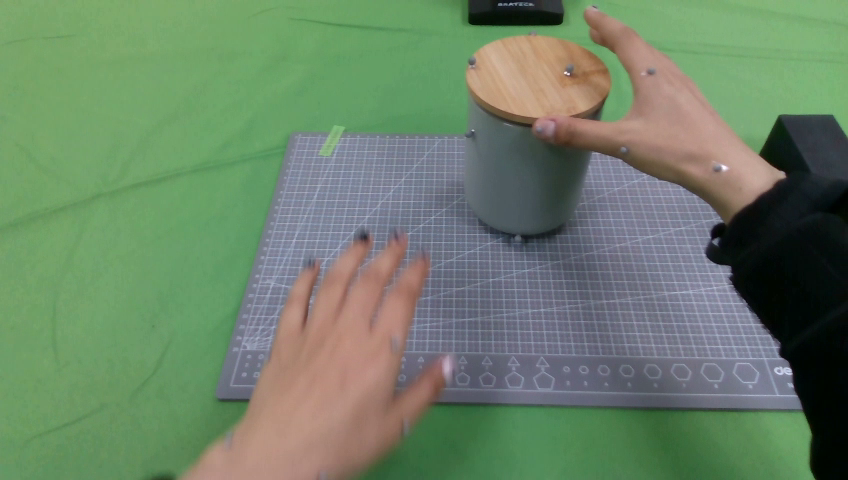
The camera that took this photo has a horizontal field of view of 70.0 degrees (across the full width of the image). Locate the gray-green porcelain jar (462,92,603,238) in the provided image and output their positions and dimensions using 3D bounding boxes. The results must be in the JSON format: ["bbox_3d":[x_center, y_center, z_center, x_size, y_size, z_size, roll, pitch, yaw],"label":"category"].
[{"bbox_3d":[0.085,-0.073,0.509,0.106,0.127,0.105,0,49,1],"label":"gray-green porcelain jar"}]

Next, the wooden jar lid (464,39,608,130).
[{"bbox_3d":[0.084,-0.116,0.460,0.108,0.021,0.107,0,48,1],"label":"wooden jar lid"}]
